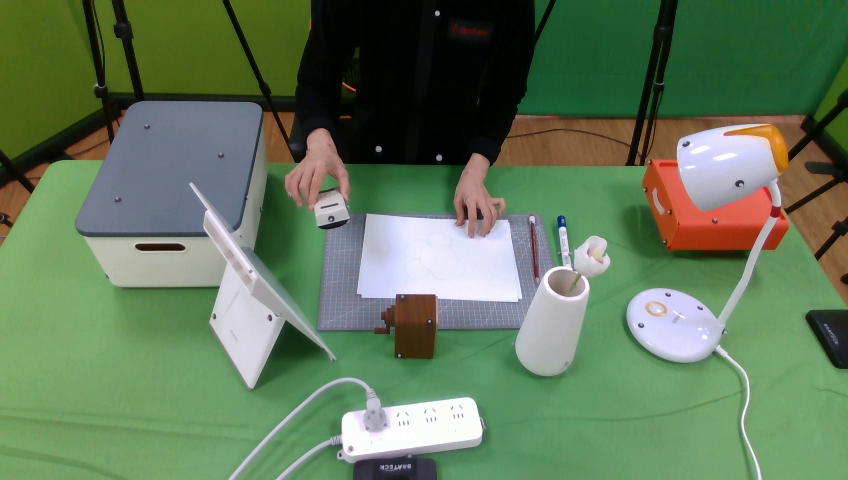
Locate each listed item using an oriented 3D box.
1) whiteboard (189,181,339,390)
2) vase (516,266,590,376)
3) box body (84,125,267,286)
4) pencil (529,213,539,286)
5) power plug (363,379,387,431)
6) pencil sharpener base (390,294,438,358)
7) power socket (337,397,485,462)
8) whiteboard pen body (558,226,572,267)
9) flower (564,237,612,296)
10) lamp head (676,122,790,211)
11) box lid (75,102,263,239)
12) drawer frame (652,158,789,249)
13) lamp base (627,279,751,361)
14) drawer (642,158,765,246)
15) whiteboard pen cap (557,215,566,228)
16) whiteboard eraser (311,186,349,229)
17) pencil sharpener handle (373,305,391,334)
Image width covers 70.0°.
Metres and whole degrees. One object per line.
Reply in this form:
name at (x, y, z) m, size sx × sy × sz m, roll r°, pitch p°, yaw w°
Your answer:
whiteboard at (-0.292, 0.096, 0.929) m, size 0.144 × 0.307 × 0.216 m, roll -37°, pitch 57°, yaw -10°
vase at (0.208, 0.132, 0.964) m, size 0.098 × 0.201 × 0.097 m, roll 3°, pitch 46°, yaw -3°
box body at (-0.446, -0.088, 1.150) m, size 0.254 × 0.161 × 0.361 m, roll -1°, pitch 46°, yaw -5°
pencil at (0.220, 0.016, 1.204) m, size 0.012 × 0.012 × 0.193 m, roll 5°, pitch 48°, yaw 0°
power plug at (-0.072, 0.252, 0.910) m, size 0.035 × 0.053 × 0.072 m, roll 3°, pitch 45°, yaw -1°
pencil sharpener base at (-0.018, 0.143, 1.000) m, size 0.077 × 0.107 × 0.061 m, roll 1°, pitch 46°, yaw -2°
power socket at (-0.018, 0.285, 0.915) m, size 0.227 × 0.033 × 0.071 m, roll -5°, pitch 46°, yaw -8°
whiteboard pen body at (0.280, 0.010, 1.208) m, size 0.017 × 0.017 × 0.140 m, roll 3°, pitch 50°, yaw -1°
flower at (0.206, 0.088, 0.893) m, size 0.038 × 0.363 × 0.044 m, roll -16°, pitch 67°, yaw -9°
lamp head at (0.423, -0.104, 0.819) m, size 0.122 × 0.113 × 0.112 m, roll -13°, pitch 33°, yaw 40°
box lid at (-0.443, -0.138, 1.094) m, size 0.263 × 0.015 × 0.369 m, roll -1°, pitch 47°, yaw -5°
drawer frame at (0.571, -0.075, 1.214) m, size 0.214 × 0.083 × 0.200 m, roll 0°, pitch 45°, yaw -1°
lamp base at (0.459, 0.100, 1.027) m, size 0.178 × 0.181 × 0.160 m, roll 27°, pitch 51°, yaw 17°
drawer at (0.565, -0.076, 1.211) m, size 0.212 × 0.073 × 0.193 m, roll 2°, pitch 45°, yaw -2°
whiteboard pen cap at (0.284, -0.035, 1.246) m, size 0.018 × 0.018 × 0.033 m, roll 4°, pitch 52°, yaw -1°
whiteboard eraser at (-0.163, -0.055, 1.042) m, size 0.055 × 0.042 × 0.112 m, roll -17°, pitch 28°, yaw -6°
pencil sharpener handle at (-0.069, 0.133, 0.989) m, size 0.030 × 0.068 × 0.036 m, roll 1°, pitch 48°, yaw -2°
